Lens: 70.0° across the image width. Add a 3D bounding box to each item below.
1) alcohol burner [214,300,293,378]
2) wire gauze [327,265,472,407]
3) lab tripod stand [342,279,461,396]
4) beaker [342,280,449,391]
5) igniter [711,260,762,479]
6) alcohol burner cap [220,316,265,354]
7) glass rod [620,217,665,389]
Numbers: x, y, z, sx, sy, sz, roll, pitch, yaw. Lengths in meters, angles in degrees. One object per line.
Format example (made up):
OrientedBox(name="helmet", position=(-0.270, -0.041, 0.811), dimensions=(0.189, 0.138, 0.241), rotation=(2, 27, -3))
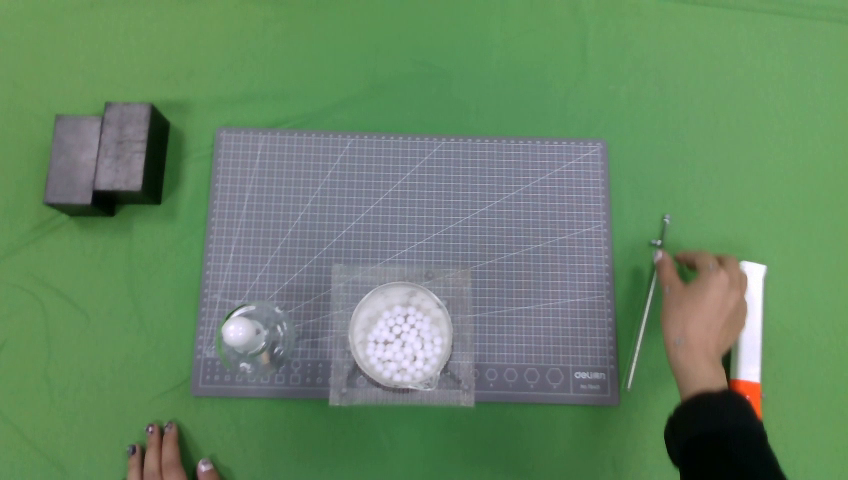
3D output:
OrientedBox(name="alcohol burner", position=(-0.170, 0.094, 0.592), dimensions=(0.078, 0.119, 0.077), rotation=(1, 75, -2))
OrientedBox(name="wire gauze", position=(-0.022, 0.081, 0.522), dimensions=(0.125, 0.011, 0.121), rotation=(1, 76, 1))
OrientedBox(name="lab tripod stand", position=(-0.024, 0.099, 0.585), dimensions=(0.148, 0.132, 0.147), rotation=(0, 76, 0))
OrientedBox(name="beaker", position=(-0.018, 0.080, 0.473), dimensions=(0.074, 0.100, 0.083), rotation=(-30, 79, -8))
OrientedBox(name="igniter", position=(0.332, 0.158, 0.640), dimensions=(0.057, 0.025, 0.275), rotation=(11, 78, -10))
OrientedBox(name="alcohol burner cap", position=(-0.169, 0.087, 0.557), dimensions=(0.034, 0.048, 0.033), rotation=(0, 73, 0))
OrientedBox(name="glass rod", position=(0.240, 0.066, 0.666), dimensions=(0.008, 0.008, 0.199), rotation=(18, 77, 2))
